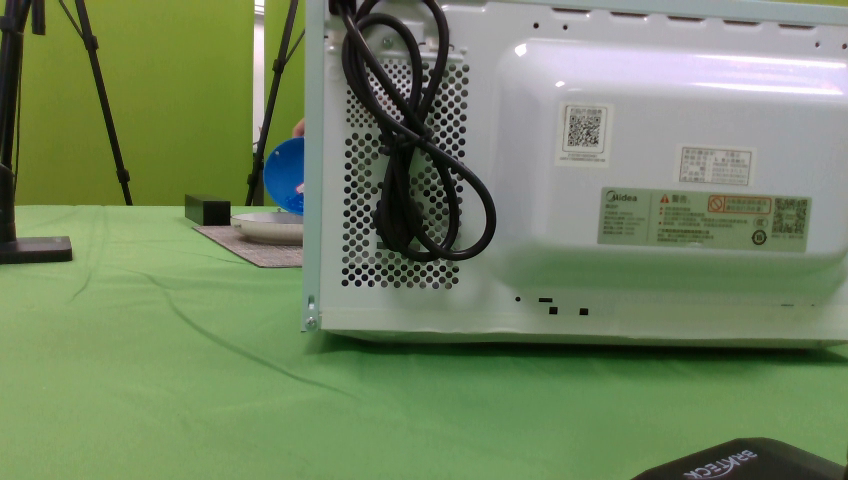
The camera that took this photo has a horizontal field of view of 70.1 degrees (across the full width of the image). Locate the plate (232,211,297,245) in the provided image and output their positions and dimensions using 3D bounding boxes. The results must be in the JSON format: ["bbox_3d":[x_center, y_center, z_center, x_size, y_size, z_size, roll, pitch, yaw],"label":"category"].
[{"bbox_3d":[-0.214,-0.020,1.018,0.208,0.039,0.207,2,7,0],"label":"plate"}]

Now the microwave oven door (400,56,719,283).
[{"bbox_3d":[0.155,-0.077,0.698,0.356,0.243,0.039,2,8,-5],"label":"microwave oven door"}]

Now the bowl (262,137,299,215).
[{"bbox_3d":[-0.215,-0.105,1.106,0.152,0.151,0.077,2,-17,-9],"label":"bowl"}]

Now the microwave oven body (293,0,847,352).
[{"bbox_3d":[0.122,-0.055,0.550,0.442,0.260,0.325,3,7,-5],"label":"microwave oven body"}]

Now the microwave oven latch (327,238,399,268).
[{"bbox_3d":[-0.069,0.015,0.694,0.079,0.029,0.030,3,7,-3],"label":"microwave oven latch"}]
